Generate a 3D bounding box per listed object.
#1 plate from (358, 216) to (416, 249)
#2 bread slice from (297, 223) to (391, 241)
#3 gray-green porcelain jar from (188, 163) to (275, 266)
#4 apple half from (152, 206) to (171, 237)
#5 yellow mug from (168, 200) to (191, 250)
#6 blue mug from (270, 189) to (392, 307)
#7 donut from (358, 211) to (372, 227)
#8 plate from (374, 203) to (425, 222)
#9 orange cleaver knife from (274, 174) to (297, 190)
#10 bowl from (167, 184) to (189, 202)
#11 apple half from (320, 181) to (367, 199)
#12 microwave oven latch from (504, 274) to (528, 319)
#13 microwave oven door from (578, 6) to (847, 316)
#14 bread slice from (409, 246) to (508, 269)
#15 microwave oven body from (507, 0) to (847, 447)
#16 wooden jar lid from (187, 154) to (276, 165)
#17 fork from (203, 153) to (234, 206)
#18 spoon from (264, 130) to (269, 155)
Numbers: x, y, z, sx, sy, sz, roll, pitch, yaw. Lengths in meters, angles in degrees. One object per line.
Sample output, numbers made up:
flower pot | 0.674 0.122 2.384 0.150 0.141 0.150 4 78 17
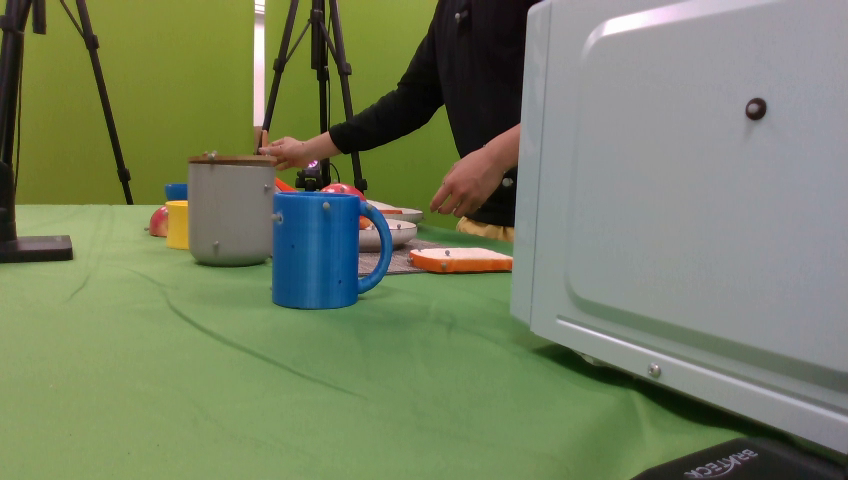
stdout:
plate | -0.116 -0.014 0.967 0.208 0.039 0.207 2 7 0
bread slice | -0.121 -0.014 0.970 0.106 0.018 0.135 9 9 41
gray-green porcelain jar | -0.246 -0.034 0.780 0.106 0.126 0.106 1 7 0
apple half | -0.415 -0.034 1.017 0.081 0.053 0.074 1 10 -8
yellow mug | -0.320 -0.023 0.904 0.130 0.064 0.100 8 10 36
blue mug | -0.089 0.005 0.588 0.117 0.106 0.082 1 7 -10
donut | -0.129 -0.041 0.957 0.099 0.048 0.099 3 8 0
plate | -0.102 -0.053 1.299 0.209 0.038 0.209 2 8 0
orange cleaver knife | -0.283 -0.087 1.343 0.212 0.077 0.012 24 -16 -41
bowl | -0.408 -0.064 1.154 0.151 0.077 0.151 2 8 0
apple half | -0.128 -0.076 0.950 0.081 0.033 0.081 2 14 0
microwave oven latch | 0.100 0.041 0.470 0.079 0.029 0.030 -1 7 -27
microwave oven door | 0.294 -0.067 0.570 0.358 0.243 0.039 -3 9 -31
bread slice | 0.048 0.022 0.816 0.132 0.019 0.104 0 7 -24
microwave oven body | 0.331 -0.042 0.425 0.444 0.260 0.324 -2 8 -31
wooden jar lid | -0.244 -0.097 0.771 0.108 0.020 0.108 -1 7 0
fork | -0.480 -0.136 1.411 0.028 0.018 0.207 1 -34 -1
spoon | -0.398 -0.190 1.527 0.042 0.193 0.021 -1 -12 -4
